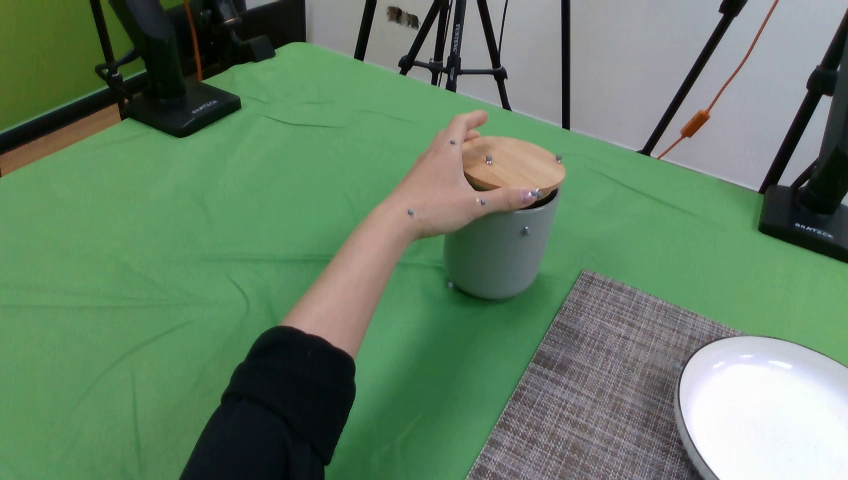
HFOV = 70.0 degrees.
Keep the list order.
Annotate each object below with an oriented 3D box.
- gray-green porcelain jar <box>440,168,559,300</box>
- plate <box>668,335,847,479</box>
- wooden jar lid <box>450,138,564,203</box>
[{"bbox_3d":[0.073,-0.010,0.622,0.106,0.127,0.105,4,40,-3],"label":"gray-green porcelain jar"},{"bbox_3d":[0.306,0.170,0.506,0.208,0.039,0.205,4,40,-3],"label":"plate"},{"bbox_3d":[0.078,-0.066,0.576,0.108,0.021,0.107,7,33,-4],"label":"wooden jar lid"}]
